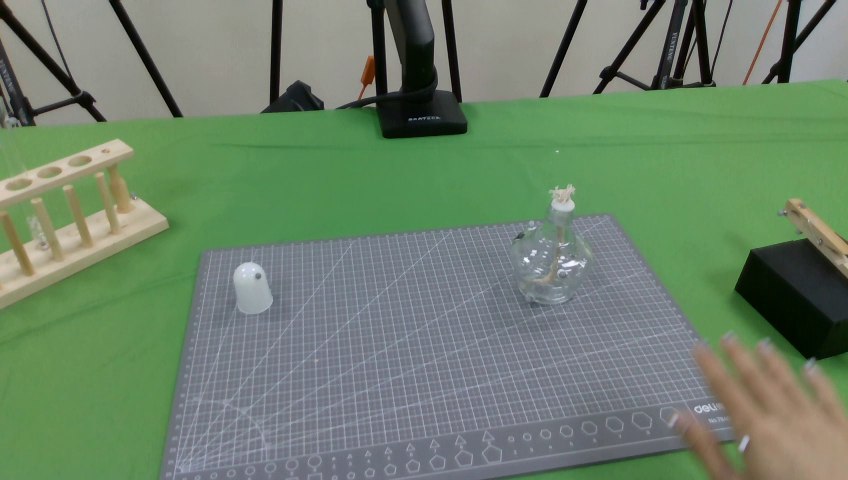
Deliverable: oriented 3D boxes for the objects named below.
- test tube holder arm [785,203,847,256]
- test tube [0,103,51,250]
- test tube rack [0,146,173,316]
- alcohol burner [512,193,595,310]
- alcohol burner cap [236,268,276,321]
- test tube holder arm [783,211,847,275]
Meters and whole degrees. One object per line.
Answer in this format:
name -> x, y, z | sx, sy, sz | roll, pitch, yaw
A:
test tube holder arm -> 0.377, -0.009, 0.575 | 0.015, 0.010, 0.087 | -2, 37, -7
test tube -> -0.378, -0.055, 0.570 | 0.017, 0.151, 0.017 | 2, 32, -1
test tube rack -> -0.378, 0.000, 0.579 | 0.066, 0.086, 0.242 | 29, 45, 32
alcohol burner -> 0.121, 0.006, 0.556 | 0.078, 0.120, 0.077 | 1, 40, -1
alcohol burner cap -> -0.155, 0.047, 0.556 | 0.034, 0.048, 0.033 | 1, 38, 0
test tube holder arm -> 0.381, 0.022, 0.543 | 0.015, 0.013, 0.176 | -2, 36, -6
